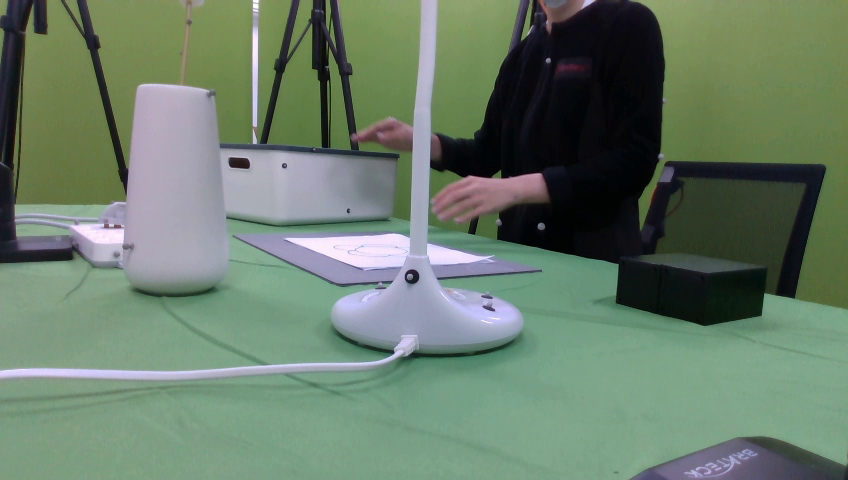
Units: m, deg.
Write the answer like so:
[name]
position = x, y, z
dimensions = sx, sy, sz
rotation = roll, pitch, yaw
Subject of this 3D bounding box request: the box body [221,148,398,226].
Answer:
[box body]
position = -0.264, -0.129, 1.380
dimensions = 0.253, 0.160, 0.366
rotation = 8, 9, 39

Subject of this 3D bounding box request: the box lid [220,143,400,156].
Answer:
[box lid]
position = -0.263, -0.202, 1.369
dimensions = 0.262, 0.015, 0.373
rotation = 9, 10, 39

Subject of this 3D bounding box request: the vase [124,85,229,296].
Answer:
[vase]
position = -0.244, -0.047, 0.598
dimensions = 0.098, 0.200, 0.098
rotation = 3, 8, 0

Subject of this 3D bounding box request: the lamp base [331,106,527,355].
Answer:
[lamp base]
position = 0.006, -0.012, 0.478
dimensions = 0.161, 0.180, 0.179
rotation = 2, 10, 2

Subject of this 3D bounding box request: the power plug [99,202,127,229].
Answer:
[power plug]
position = -0.415, -0.026, 0.848
dimensions = 0.073, 0.052, 0.035
rotation = 6, 5, -28

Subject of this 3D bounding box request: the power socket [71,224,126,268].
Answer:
[power socket]
position = -0.409, 0.004, 0.793
dimensions = 0.072, 0.032, 0.225
rotation = -2, 8, -37

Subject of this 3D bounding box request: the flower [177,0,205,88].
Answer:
[flower]
position = -0.243, -0.131, 0.609
dimensions = 0.044, 0.361, 0.038
rotation = -5, -12, 12
